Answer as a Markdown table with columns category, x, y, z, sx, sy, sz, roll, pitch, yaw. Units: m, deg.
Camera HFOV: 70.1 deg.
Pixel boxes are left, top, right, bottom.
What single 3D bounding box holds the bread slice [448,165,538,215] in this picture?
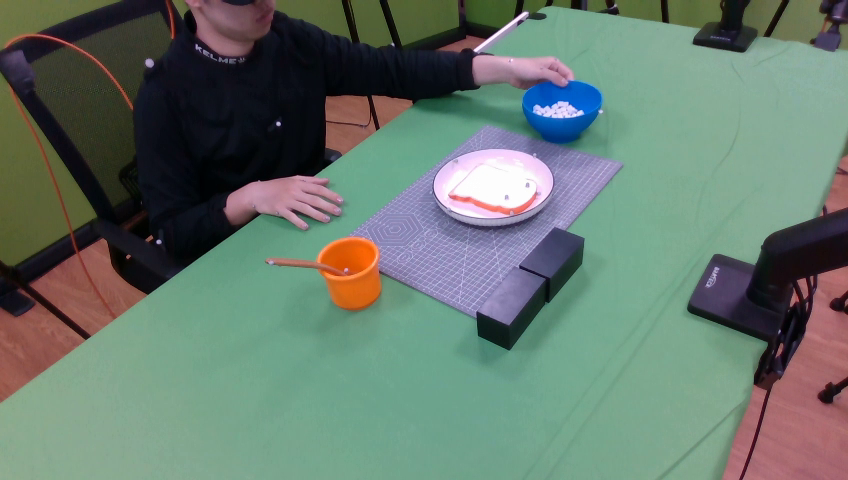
| category | x | y | z | sx | sy | sz | roll | pitch | yaw |
| --- | --- | --- | --- | --- | --- | --- | --- | --- | --- |
| bread slice | 0.126 | -0.085 | 1.038 | 0.133 | 0.018 | 0.107 | 16 | 45 | 27 |

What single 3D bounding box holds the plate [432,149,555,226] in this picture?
| category | x | y | z | sx | sy | sz | roll | pitch | yaw |
| --- | --- | --- | --- | --- | --- | --- | --- | --- | --- |
| plate | 0.120 | -0.087 | 1.037 | 0.209 | 0.038 | 0.208 | -4 | 40 | 4 |

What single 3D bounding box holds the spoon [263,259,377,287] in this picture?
| category | x | y | z | sx | sy | sz | roll | pitch | yaw |
| --- | --- | --- | --- | --- | --- | --- | --- | --- | --- |
| spoon | -0.140 | 0.042 | 0.843 | 0.041 | 0.195 | 0.021 | 35 | 101 | 41 |

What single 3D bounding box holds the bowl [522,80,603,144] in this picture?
| category | x | y | z | sx | sy | sz | roll | pitch | yaw |
| --- | --- | --- | --- | --- | --- | --- | --- | --- | --- |
| bowl | 0.264 | -0.238 | 1.166 | 0.151 | 0.077 | 0.150 | -4 | 41 | 4 |
